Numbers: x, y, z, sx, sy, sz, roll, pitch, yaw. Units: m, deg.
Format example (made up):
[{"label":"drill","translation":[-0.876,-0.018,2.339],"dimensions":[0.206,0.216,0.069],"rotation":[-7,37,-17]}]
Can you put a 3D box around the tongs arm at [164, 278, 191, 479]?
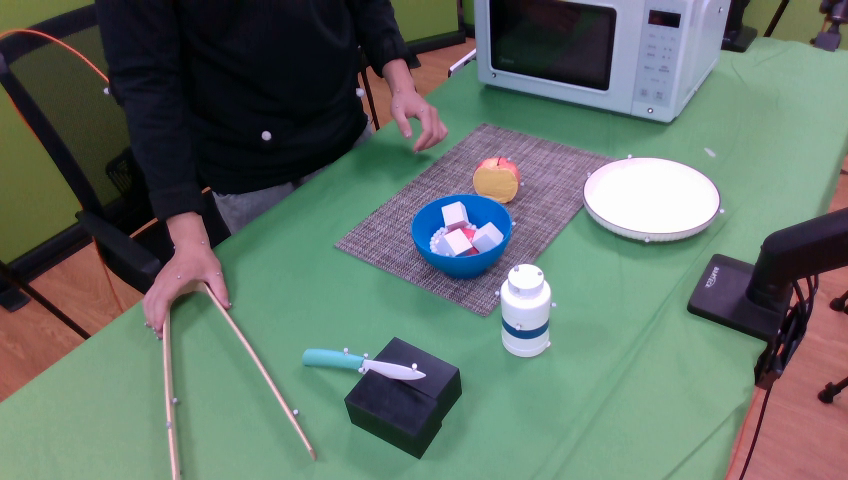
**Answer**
[{"label":"tongs arm","translation":[-0.313,0.182,0.789],"dimensions":[0.051,0.026,0.381],"rotation":[-19,41,-14]}]

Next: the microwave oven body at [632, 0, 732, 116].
[{"label":"microwave oven body","translation":[0.377,-0.463,1.267],"dimensions":[0.438,0.261,0.327],"rotation":[21,49,30]}]

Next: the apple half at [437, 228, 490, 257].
[{"label":"apple half","translation":[0.056,0.002,0.902],"dimensions":[0.081,0.033,0.081],"rotation":[-3,40,3]}]

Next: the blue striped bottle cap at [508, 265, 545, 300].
[{"label":"blue striped bottle cap","translation":[0.125,0.051,0.734],"dimensions":[0.044,0.021,0.044],"rotation":[-5,36,4]}]

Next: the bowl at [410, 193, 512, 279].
[{"label":"bowl","translation":[0.058,0.005,0.905],"dimensions":[0.151,0.077,0.150],"rotation":[-4,40,4]}]

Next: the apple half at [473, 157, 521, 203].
[{"label":"apple half","translation":[0.128,-0.107,1.030],"dimensions":[0.080,0.075,0.053],"rotation":[4,38,19]}]

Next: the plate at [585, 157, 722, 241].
[{"label":"plate","translation":[0.367,-0.063,0.979],"dimensions":[0.207,0.039,0.206],"rotation":[-4,40,4]}]

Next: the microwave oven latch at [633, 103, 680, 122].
[{"label":"microwave oven latch","translation":[0.443,-0.249,1.157],"dimensions":[0.078,0.029,0.030],"rotation":[20,48,29]}]

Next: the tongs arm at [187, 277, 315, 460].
[{"label":"tongs arm","translation":[-0.241,0.155,0.815],"dimensions":[0.028,0.028,0.384],"rotation":[-31,46,-21]}]

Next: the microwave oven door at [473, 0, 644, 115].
[{"label":"microwave oven door","translation":[0.257,-0.396,1.199],"dimensions":[0.353,0.245,0.039],"rotation":[21,48,29]}]

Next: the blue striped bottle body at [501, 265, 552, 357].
[{"label":"blue striped bottle body","translation":[0.130,0.089,0.769],"dimensions":[0.063,0.121,0.063],"rotation":[-4,41,4]}]

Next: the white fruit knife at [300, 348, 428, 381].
[{"label":"white fruit knife","translation":[-0.079,0.154,0.748],"dimensions":[0.206,0.027,0.016],"rotation":[1,20,34]}]
